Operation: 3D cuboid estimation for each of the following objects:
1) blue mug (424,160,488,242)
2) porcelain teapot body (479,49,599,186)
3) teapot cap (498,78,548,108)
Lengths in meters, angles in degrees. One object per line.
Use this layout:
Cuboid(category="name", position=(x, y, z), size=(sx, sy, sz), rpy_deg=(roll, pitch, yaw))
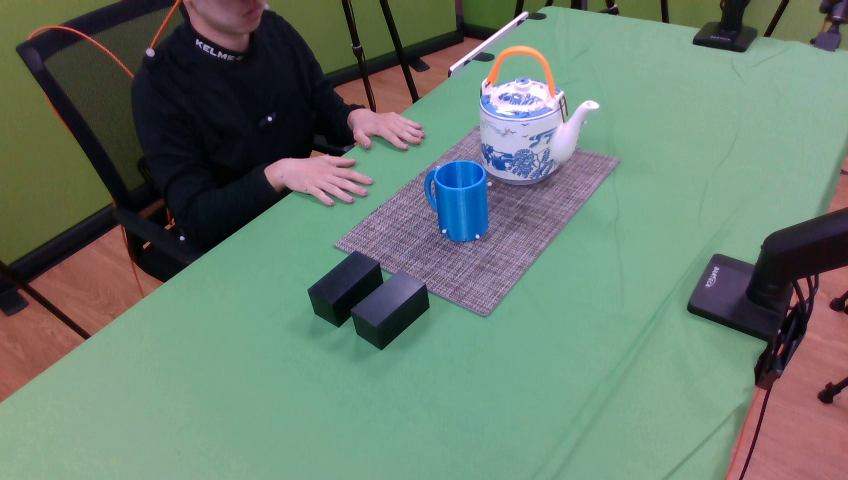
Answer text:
Cuboid(category="blue mug", position=(0.047, -0.067, 0.971), size=(0.115, 0.106, 0.082), rpy_deg=(22, 49, 30))
Cuboid(category="porcelain teapot body", position=(0.192, -0.208, 1.023), size=(0.204, 0.226, 0.145), rpy_deg=(16, 46, 25))
Cuboid(category="teapot cap", position=(0.165, -0.246, 1.010), size=(0.085, 0.044, 0.084), rpy_deg=(-4, 44, 5))
